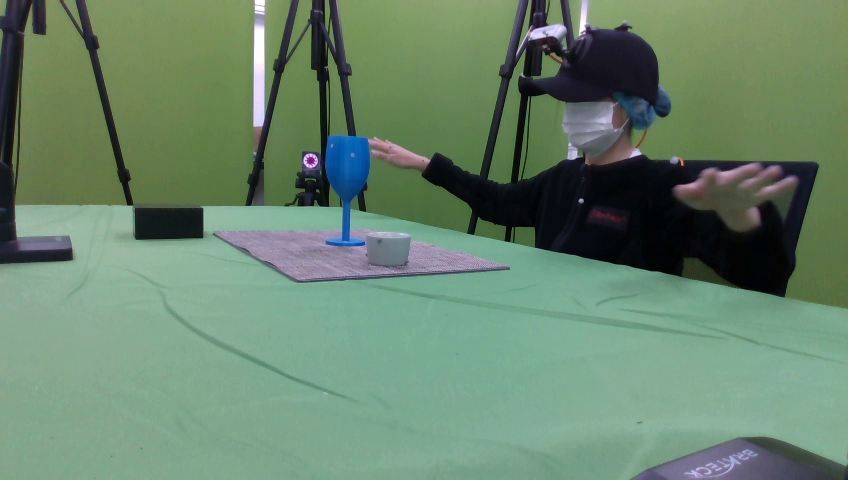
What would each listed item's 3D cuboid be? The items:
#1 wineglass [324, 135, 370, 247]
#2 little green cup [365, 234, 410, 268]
[{"bbox_3d":[-0.125,-0.079,0.965,0.074,0.172,0.073,3,8,0],"label":"wineglass"},{"bbox_3d":[-0.048,0.014,0.802,0.061,0.038,0.061,2,8,0],"label":"little green cup"}]
